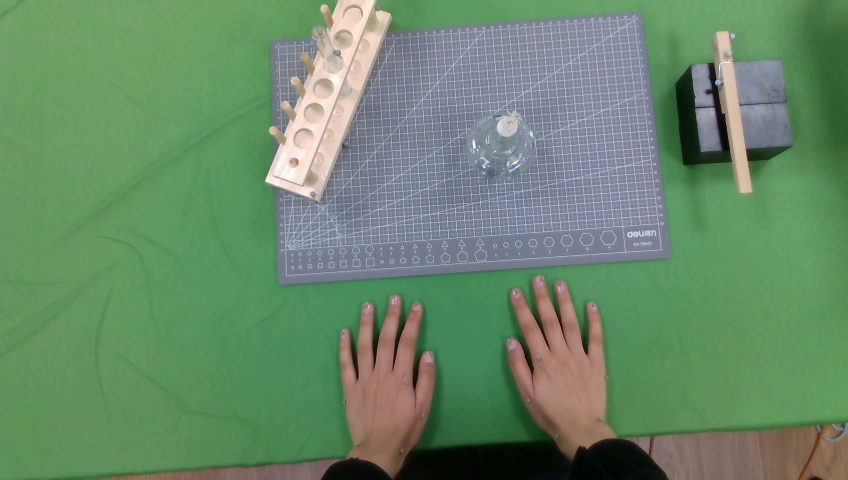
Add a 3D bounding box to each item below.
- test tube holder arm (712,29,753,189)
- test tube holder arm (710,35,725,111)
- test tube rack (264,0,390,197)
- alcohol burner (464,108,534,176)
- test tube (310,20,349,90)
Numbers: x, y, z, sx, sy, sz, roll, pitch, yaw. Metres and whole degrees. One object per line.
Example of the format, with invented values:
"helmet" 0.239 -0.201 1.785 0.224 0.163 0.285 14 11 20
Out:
"test tube holder arm" 0.328 -0.141 0.646 0.015 0.013 0.177 -6 78 12
"test tube holder arm" 0.327 -0.184 0.660 0.015 0.010 0.087 -6 78 12
"test tube rack" -0.116 -0.178 0.685 0.066 0.085 0.242 20 83 6
"alcohol burner" 0.083 -0.111 0.655 0.078 0.119 0.077 0 81 1
"test tube" -0.097 -0.189 0.636 0.017 0.150 0.017 0 84 2
